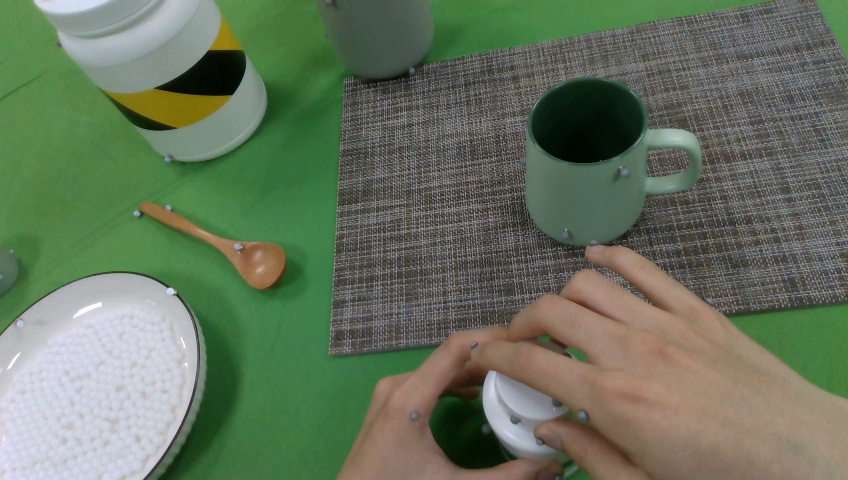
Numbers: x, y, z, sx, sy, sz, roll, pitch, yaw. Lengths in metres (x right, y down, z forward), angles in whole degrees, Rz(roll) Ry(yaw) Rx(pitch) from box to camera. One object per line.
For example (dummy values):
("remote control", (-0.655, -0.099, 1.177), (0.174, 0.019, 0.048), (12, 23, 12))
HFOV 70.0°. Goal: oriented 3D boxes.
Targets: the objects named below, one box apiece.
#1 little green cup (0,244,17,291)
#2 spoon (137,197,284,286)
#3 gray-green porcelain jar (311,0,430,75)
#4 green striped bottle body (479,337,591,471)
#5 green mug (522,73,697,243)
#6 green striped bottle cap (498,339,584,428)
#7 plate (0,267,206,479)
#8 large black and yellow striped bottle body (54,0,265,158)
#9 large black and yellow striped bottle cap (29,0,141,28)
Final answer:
("little green cup", (-0.422, 0.025, 0.570), (0.061, 0.039, 0.061), (-5, 60, 9))
("spoon", (-0.197, -0.007, 0.547), (0.192, 0.022, 0.041), (23, 88, 23))
("gray-green porcelain jar", (-0.053, -0.232, 0.578), (0.106, 0.128, 0.105), (-6, 56, 9))
("green striped bottle body", (0.069, 0.100, 0.369), (0.063, 0.120, 0.062), (-6, 61, 11))
("green mug", (0.134, -0.058, 0.447), (0.125, 0.106, 0.092), (1, 61, 13))
("green striped bottle cap", (0.061, 0.075, 0.319), (0.044, 0.020, 0.044), (-10, 44, 10))
("plate", (-0.266, 0.121, 0.481), (0.209, 0.038, 0.207), (-5, 60, 10))
("large black and yellow striped bottle body", (-0.243, -0.177, 0.558), (0.130, 0.186, 0.129), (-5, 60, 10))
("large black and yellow striped bottle cap", (-0.262, -0.217, 0.486), (0.115, 0.019, 0.114), (-5, 59, 9))
